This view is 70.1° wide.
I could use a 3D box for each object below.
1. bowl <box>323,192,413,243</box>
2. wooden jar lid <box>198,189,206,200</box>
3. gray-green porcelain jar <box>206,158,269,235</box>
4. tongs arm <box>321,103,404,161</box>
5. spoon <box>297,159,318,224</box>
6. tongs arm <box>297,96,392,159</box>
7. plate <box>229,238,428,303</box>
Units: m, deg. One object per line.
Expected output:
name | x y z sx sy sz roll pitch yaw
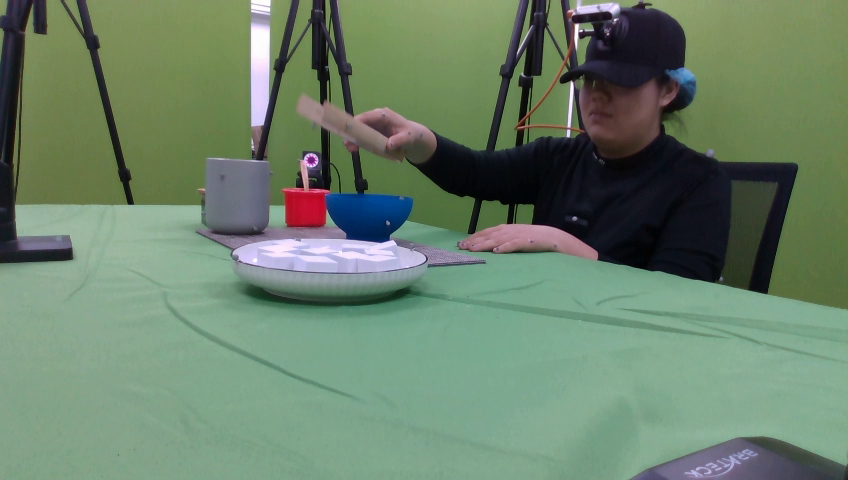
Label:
bowl | -0.094 -0.037 1.015 0.151 0.077 0.151 3 7 0
wooden jar lid | -0.382 -0.088 1.175 0.108 0.020 0.108 3 8 0
gray-green porcelain jar | -0.323 -0.076 1.048 0.106 0.126 0.106 3 8 0
tongs arm | -0.084 -0.157 0.933 0.028 0.028 0.388 15 3 12
spoon | -0.244 -0.103 1.251 0.042 0.021 0.193 1 52 -17
tongs arm | -0.106 -0.165 0.938 0.051 0.026 0.385 18 4 7
plate | -0.099 0.032 0.651 0.209 0.038 0.209 3 8 0
